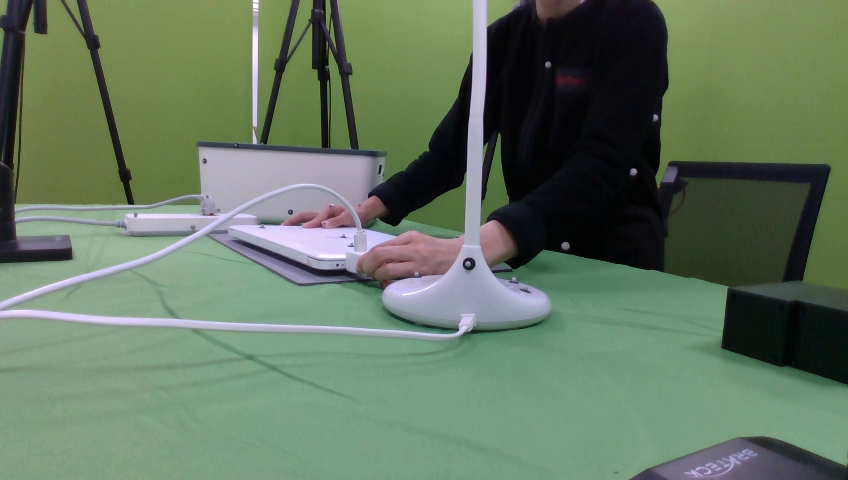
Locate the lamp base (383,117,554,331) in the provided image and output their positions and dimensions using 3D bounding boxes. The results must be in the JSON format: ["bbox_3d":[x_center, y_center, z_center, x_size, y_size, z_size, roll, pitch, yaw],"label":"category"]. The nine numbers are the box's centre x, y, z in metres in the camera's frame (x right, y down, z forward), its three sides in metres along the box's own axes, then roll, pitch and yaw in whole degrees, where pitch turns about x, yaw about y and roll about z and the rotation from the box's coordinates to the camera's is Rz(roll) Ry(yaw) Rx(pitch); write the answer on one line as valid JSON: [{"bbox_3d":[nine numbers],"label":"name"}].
[{"bbox_3d":[0.045,-0.019,0.547,0.161,0.180,0.179,2,10,-4],"label":"lamp base"}]

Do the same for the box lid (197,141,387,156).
[{"bbox_3d":[-0.275,-0.198,1.325,0.372,0.015,0.263,3,8,1],"label":"box lid"}]

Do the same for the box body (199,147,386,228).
[{"bbox_3d":[-0.276,-0.124,1.334,0.364,0.160,0.254,3,7,1],"label":"box body"}]

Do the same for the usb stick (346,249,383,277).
[{"bbox_3d":[-0.071,0.026,0.687,0.021,0.027,0.059,-11,9,-37],"label":"usb stick"}]

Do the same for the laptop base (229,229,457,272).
[{"bbox_3d":[-0.121,0.012,0.889,0.237,0.023,0.352,2,6,-35],"label":"laptop base"}]

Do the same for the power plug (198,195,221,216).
[{"bbox_3d":[-0.386,-0.055,1.089,0.035,0.052,0.072,-1,6,-23],"label":"power plug"}]

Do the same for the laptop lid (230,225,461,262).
[{"bbox_3d":[-0.119,0.001,0.889,0.243,0.013,0.355,1,7,-33],"label":"laptop lid"}]

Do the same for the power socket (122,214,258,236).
[{"bbox_3d":[-0.398,-0.028,1.049,0.228,0.032,0.072,-3,8,-34],"label":"power socket"}]
